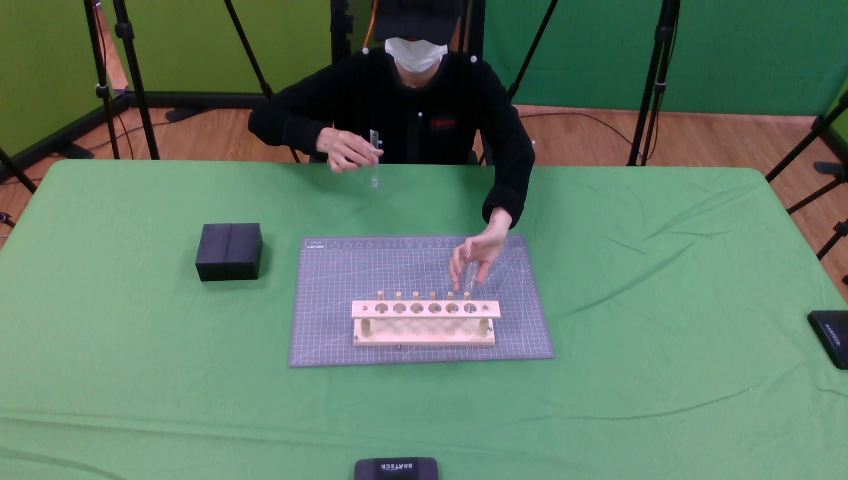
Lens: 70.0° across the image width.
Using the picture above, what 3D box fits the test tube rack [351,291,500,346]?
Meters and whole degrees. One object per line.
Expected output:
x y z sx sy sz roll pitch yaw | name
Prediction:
0.000 0.129 1.026 0.242 0.085 0.066 1 46 -4 | test tube rack

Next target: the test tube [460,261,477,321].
0.073 0.087 1.010 0.017 0.151 0.017 2 47 -2 | test tube

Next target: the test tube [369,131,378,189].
-0.100 -0.154 1.194 0.017 0.151 0.017 2 52 -3 | test tube
